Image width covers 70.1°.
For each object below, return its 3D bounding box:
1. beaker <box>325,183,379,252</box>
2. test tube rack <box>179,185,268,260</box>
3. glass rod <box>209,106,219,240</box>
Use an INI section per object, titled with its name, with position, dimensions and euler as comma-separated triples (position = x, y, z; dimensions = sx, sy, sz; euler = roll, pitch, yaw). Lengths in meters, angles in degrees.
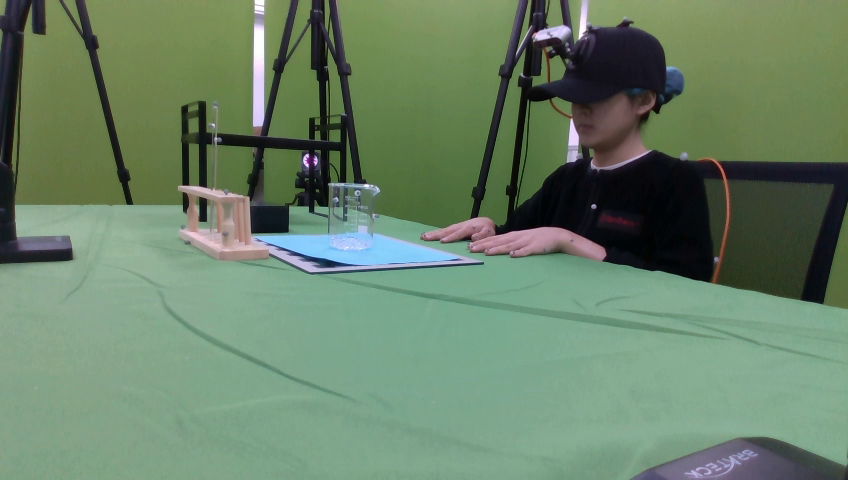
[beaker]
position = -0.109, -0.035, 0.921
dimensions = 0.084, 0.100, 0.074
euler = 5, 8, 15
[test tube rack]
position = -0.303, -0.031, 0.898
dimensions = 0.067, 0.085, 0.241
euler = -2, 9, -33
[glass rod]
position = -0.305, -0.096, 0.878
dimensions = 0.008, 0.199, 0.008
euler = 2, 0, 0
